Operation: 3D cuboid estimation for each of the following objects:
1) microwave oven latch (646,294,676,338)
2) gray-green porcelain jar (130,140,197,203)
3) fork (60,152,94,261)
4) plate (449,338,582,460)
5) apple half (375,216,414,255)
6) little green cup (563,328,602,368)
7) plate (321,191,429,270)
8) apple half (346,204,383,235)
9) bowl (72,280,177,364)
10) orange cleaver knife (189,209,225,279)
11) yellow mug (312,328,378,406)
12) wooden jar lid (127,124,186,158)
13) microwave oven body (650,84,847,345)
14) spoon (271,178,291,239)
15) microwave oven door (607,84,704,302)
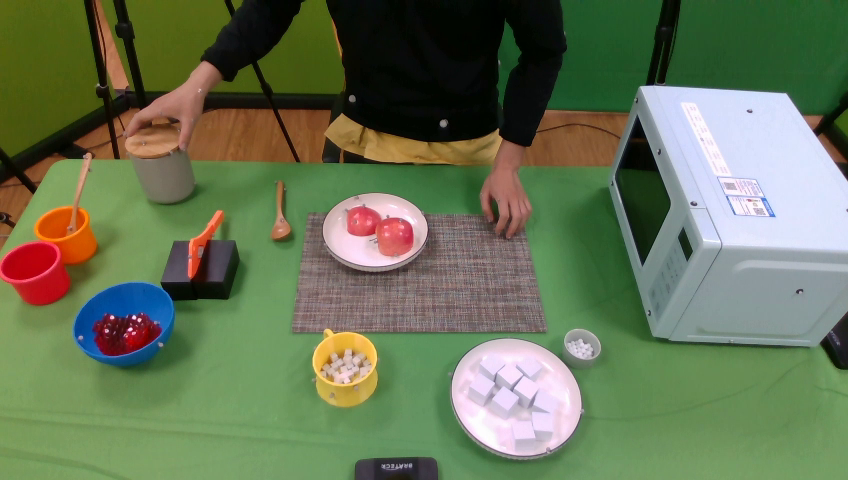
[{"bbox_3d":[0.412,0.133,1.061,0.030,0.029,0.078,3,46,0],"label":"microwave oven latch"},{"bbox_3d":[-0.522,-0.147,1.225,0.106,0.127,0.105,2,47,-2],"label":"gray-green porcelain jar"},{"bbox_3d":[-0.638,-0.063,1.119,0.028,0.018,0.207,12,90,8],"label":"fork"},{"bbox_3d":[0.141,0.251,0.956,0.208,0.039,0.206,2,46,-2],"label":"plate"},{"bbox_3d":[-0.056,-0.017,1.169,0.075,0.053,0.080,0,46,-7],"label":"apple half"},{"bbox_3d":[0.265,0.184,1.025,0.061,0.039,0.061,1,46,-1],"label":"little green cup"},{"bbox_3d":[-0.094,-0.015,1.185,0.209,0.038,0.208,2,46,-2],"label":"plate"},{"bbox_3d":[-0.119,-0.049,1.207,0.081,0.033,0.081,2,50,-3],"label":"apple half"},{"bbox_3d":[-0.473,0.147,0.982,0.151,0.077,0.150,2,46,-2],"label":"bowl"},{"bbox_3d":[-0.400,0.002,1.122,0.012,0.077,0.210,4,23,-4],"label":"orange cleaver knife"},{"bbox_3d":[-0.132,0.193,0.971,0.100,0.064,0.130,-22,51,-22],"label":"yellow mug"},{"bbox_3d":[-0.519,-0.190,1.179,0.108,0.021,0.107,2,44,-2],"label":"wooden jar lid"},{"bbox_3d":[0.569,-0.054,1.116,0.326,0.261,0.439,2,46,-1],"label":"microwave oven body"},{"bbox_3d":[-0.293,-0.069,1.237,0.041,0.022,0.192,-20,48,7],"label":"spoon"},{"bbox_3d":[0.424,-0.096,1.138,0.039,0.245,0.353,3,46,-1],"label":"microwave oven door"}]
